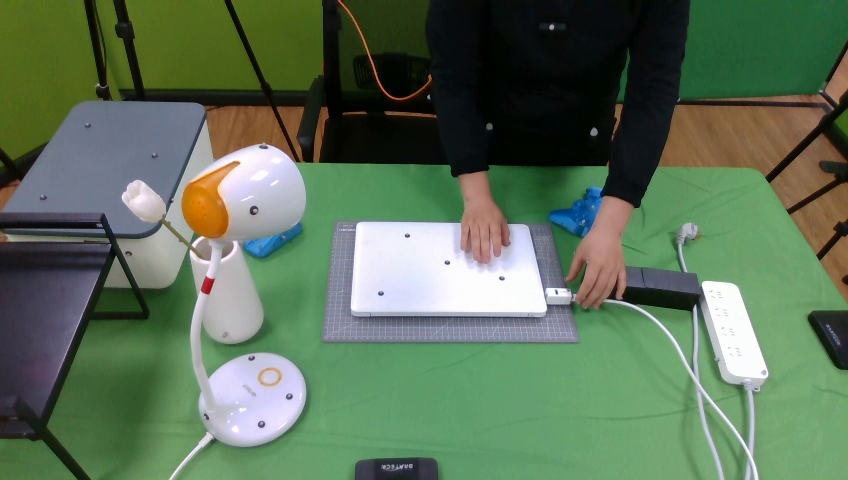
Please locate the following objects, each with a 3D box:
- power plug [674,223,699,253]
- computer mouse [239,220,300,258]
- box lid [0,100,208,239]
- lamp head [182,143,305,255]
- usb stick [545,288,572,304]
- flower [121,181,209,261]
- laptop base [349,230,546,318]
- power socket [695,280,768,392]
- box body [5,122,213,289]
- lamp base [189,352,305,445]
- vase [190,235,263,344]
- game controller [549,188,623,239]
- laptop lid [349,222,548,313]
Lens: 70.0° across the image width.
[{"bbox_3d":[0.536,-0.001,1.244,0.053,0.035,0.072,22,83,-16],"label":"power plug"},{"bbox_3d":[-0.300,-0.016,1.178,0.062,0.041,0.117,35,57,22],"label":"computer mouse"},{"bbox_3d":[-0.559,-0.138,1.085,0.263,0.015,0.369,2,46,-2],"label":"box lid"},{"bbox_3d":[-0.216,-0.044,0.697,0.112,0.113,0.123,23,31,17],"label":"lamp head"},{"bbox_3d":[0.236,0.102,1.102,0.059,0.027,0.021,-1,49,0],"label":"usb stick"},{"bbox_3d":[-0.329,0.029,0.905,0.038,0.364,0.044,-22,58,-1],"label":"flower"},{"bbox_3d":[0.041,0.056,1.149,0.355,0.023,0.234,1,43,-4],"label":"laptop base"},{"bbox_3d":[0.542,0.160,1.077,0.072,0.033,0.225,5,46,1],"label":"power socket"},{"bbox_3d":[-0.563,-0.087,1.140,0.254,0.161,0.361,2,46,-3],"label":"box body"},{"bbox_3d":[-0.268,0.196,0.876,0.160,0.181,0.179,25,52,20],"label":"lamp base"},{"bbox_3d":[-0.317,0.081,0.971,0.098,0.201,0.097,3,47,-3],"label":"vase"},{"bbox_3d":[0.346,-0.065,1.272,0.155,0.052,0.096,-31,58,-29],"label":"game controller"},{"bbox_3d":[0.041,0.046,1.143,0.357,0.013,0.240,2,44,-3],"label":"laptop lid"}]
